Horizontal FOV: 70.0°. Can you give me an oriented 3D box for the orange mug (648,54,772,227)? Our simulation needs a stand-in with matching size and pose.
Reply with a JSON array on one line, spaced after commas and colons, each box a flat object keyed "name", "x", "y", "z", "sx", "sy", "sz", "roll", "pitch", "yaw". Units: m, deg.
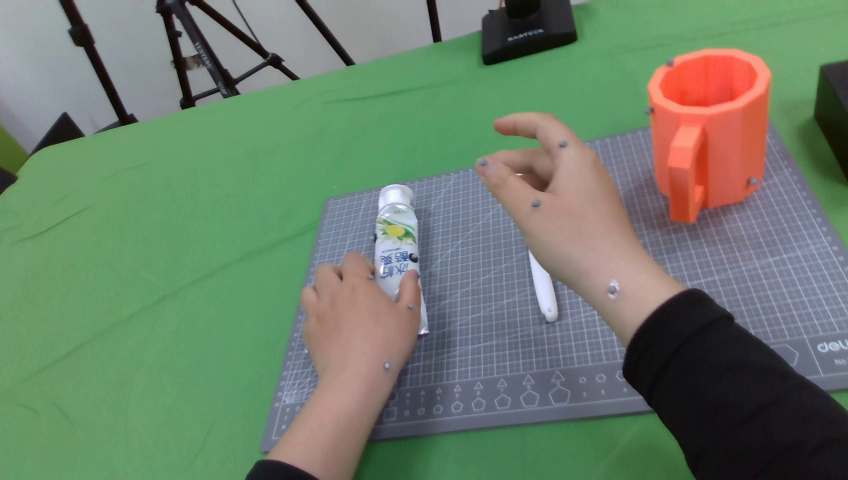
[{"name": "orange mug", "x": 0.222, "y": -0.075, "z": 0.485, "sx": 0.083, "sy": 0.102, "sz": 0.126, "roll": 13, "pitch": 49, "yaw": 34}]

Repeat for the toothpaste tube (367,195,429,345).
[{"name": "toothpaste tube", "x": -0.028, "y": 0.020, "z": 0.556, "sx": 0.055, "sy": 0.035, "sz": 0.163, "roll": -17, "pitch": 49, "yaw": 14}]

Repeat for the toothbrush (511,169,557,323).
[{"name": "toothbrush", "x": 0.094, "y": -0.002, "z": 0.529, "sx": 0.014, "sy": 0.017, "sz": 0.180, "roll": -4, "pitch": 45, "yaw": 1}]

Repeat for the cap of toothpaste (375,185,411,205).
[{"name": "cap of toothpaste", "x": -0.031, "y": -0.040, "z": 0.604, "sx": 0.037, "sy": 0.038, "sz": 0.011, "roll": -12, "pitch": 52, "yaw": 13}]
